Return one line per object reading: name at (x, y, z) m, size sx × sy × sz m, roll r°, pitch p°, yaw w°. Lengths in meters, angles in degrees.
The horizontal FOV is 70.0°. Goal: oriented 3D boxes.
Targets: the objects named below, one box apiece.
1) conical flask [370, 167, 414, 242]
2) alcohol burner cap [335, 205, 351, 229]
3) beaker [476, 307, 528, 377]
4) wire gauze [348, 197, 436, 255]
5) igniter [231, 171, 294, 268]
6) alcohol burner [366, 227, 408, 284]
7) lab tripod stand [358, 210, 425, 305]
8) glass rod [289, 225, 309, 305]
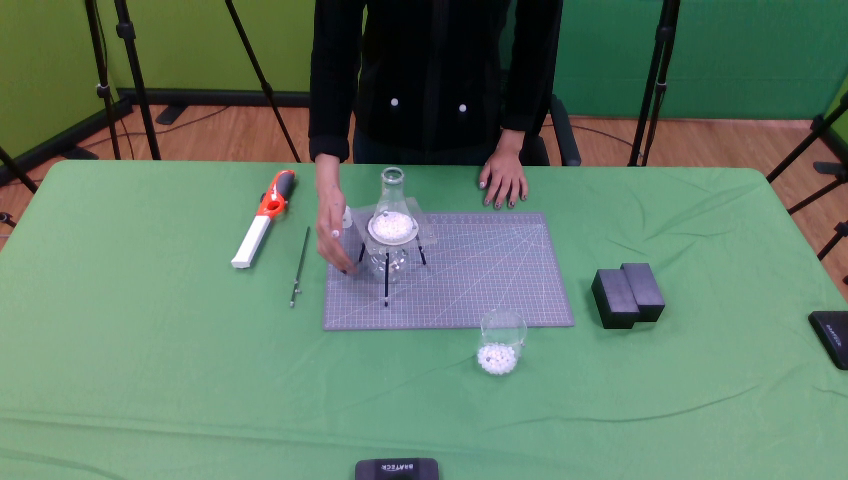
conical flask at (-0.053, -0.062, 1.000) m, size 0.075 × 0.122 × 0.075 m, roll 2°, pitch 44°, yaw -2°
alcohol burner cap at (-0.164, -0.049, 1.216) m, size 0.034 × 0.048 × 0.033 m, roll 2°, pitch 45°, yaw -2°
beaker at (0.122, 0.171, 0.991) m, size 0.084 × 0.101 × 0.073 m, roll -34°, pitch 56°, yaw -30°
wire gauze at (-0.056, -0.025, 1.046) m, size 0.125 × 0.011 × 0.120 m, roll -14°, pitch 46°, yaw -15°
igniter at (-0.321, -0.051, 1.220) m, size 0.057 × 0.025 × 0.275 m, roll 2°, pitch 45°, yaw 11°
alcohol burner at (-0.068, 0.024, 1.104) m, size 0.078 × 0.120 × 0.077 m, roll 1°, pitch 46°, yaw -1°
lab tripod stand at (-0.060, 0.020, 1.094) m, size 0.148 × 0.132 × 0.147 m, roll 3°, pitch 44°, yaw -2°
glass rod at (-0.235, 0.043, 1.149) m, size 0.008 × 0.008 × 0.198 m, roll 3°, pitch 46°, yaw -1°
